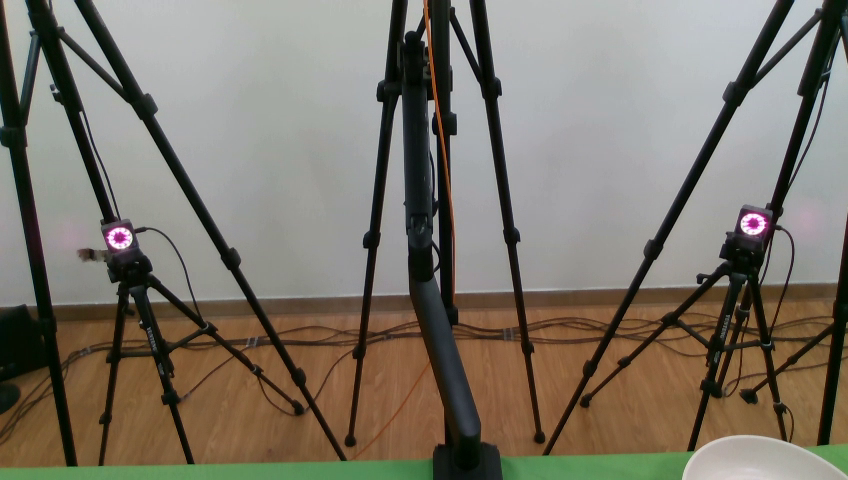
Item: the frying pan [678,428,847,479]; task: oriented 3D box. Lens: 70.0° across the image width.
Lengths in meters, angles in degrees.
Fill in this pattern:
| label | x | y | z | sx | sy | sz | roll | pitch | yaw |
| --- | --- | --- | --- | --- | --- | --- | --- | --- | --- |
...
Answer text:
| label | x | y | z | sx | sy | sz | roll | pitch | yaw |
| --- | --- | --- | --- | --- | --- | --- | --- | --- | --- |
| frying pan | 0.531 | 0.472 | 0.844 | 0.306 | 0.103 | 0.484 | 1 | 25 | 6 |
